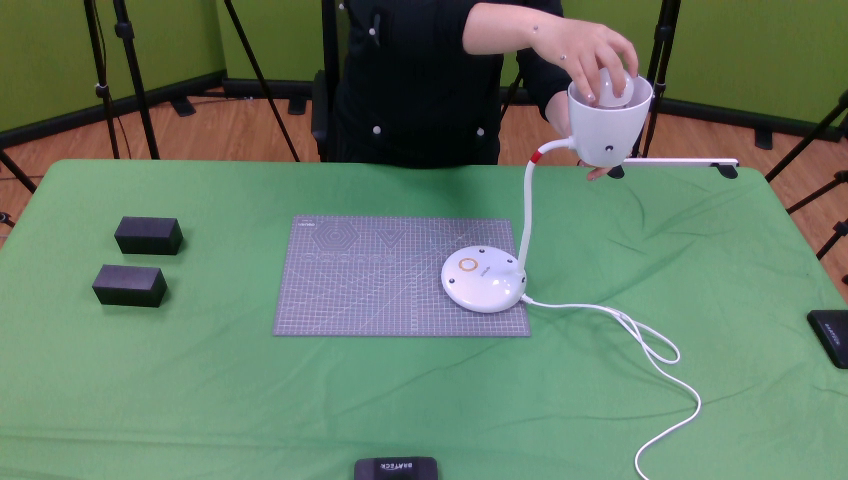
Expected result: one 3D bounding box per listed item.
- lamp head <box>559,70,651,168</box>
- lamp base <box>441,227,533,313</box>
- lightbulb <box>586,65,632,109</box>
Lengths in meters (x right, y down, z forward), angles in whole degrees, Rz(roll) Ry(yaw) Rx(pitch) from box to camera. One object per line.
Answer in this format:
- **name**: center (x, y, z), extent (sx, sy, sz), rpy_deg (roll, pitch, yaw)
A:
- **lamp head**: center (0.252, -0.164, 0.860), extent (0.112, 0.123, 0.111), rpy_deg (0, 43, 0)
- **lamp base**: center (0.126, 0.022, 1.071), extent (0.179, 0.181, 0.160), rpy_deg (23, 49, 14)
- **lightbulb**: center (0.254, -0.188, 0.842), extent (0.059, 0.108, 0.059), rpy_deg (-3, 37, 3)
